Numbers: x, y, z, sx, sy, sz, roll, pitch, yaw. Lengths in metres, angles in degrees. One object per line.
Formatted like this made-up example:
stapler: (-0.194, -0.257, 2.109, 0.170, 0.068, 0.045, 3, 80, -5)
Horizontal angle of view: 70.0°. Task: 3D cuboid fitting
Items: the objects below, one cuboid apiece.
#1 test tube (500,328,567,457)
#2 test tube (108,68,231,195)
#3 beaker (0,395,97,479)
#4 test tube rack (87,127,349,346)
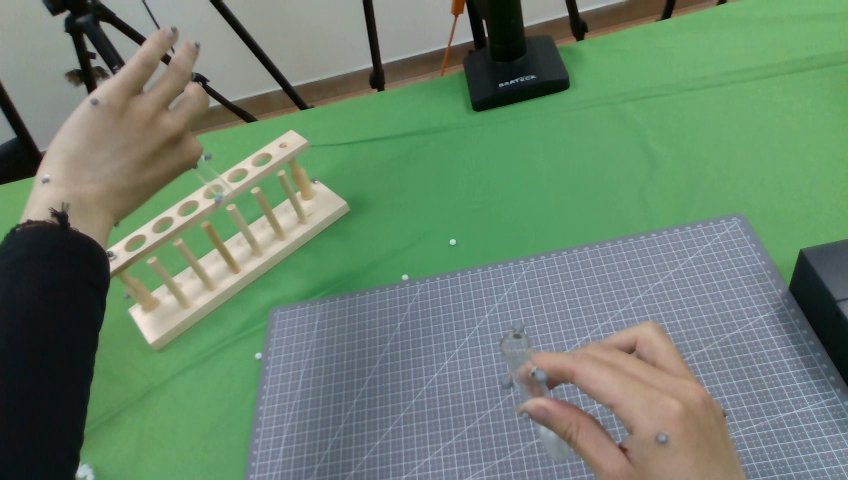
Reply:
test tube: (0.066, 0.094, 0.348, 0.017, 0.152, 0.017, -11, 49, 14)
test tube: (-0.214, -0.089, 0.522, 0.017, 0.152, 0.017, -11, 54, 15)
beaker: (-0.317, 0.180, 0.478, 0.073, 0.101, 0.083, 10, 51, 24)
test tube rack: (-0.203, -0.008, 0.625, 0.242, 0.086, 0.066, -38, 49, -18)
